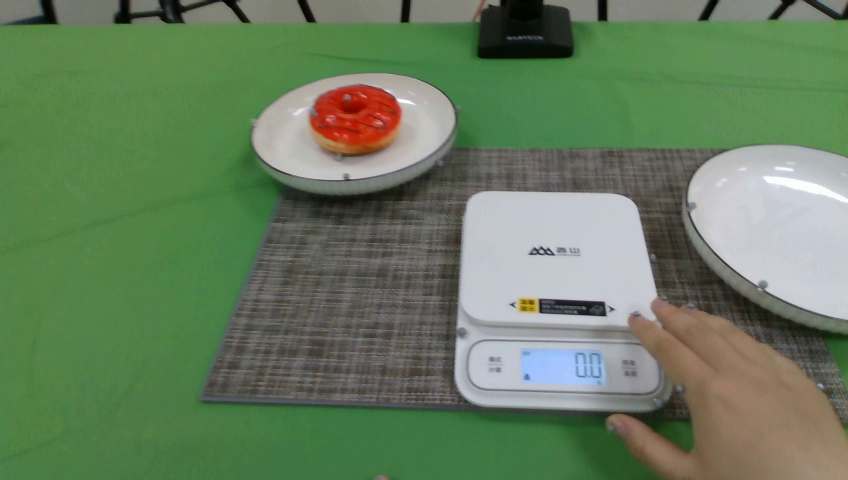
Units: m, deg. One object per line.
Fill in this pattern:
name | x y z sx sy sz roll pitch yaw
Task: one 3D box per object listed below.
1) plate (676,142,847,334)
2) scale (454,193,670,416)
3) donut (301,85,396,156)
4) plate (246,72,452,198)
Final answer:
plate | 0.311 -0.004 0.496 0.208 0.039 0.205 0 46 0
scale | 0.100 0.039 0.470 0.148 0.032 0.199 1 46 5
donut | -0.077 -0.122 0.624 0.099 0.049 0.098 -1 43 1
plate | -0.075 -0.107 0.623 0.209 0.038 0.207 -2 43 2
